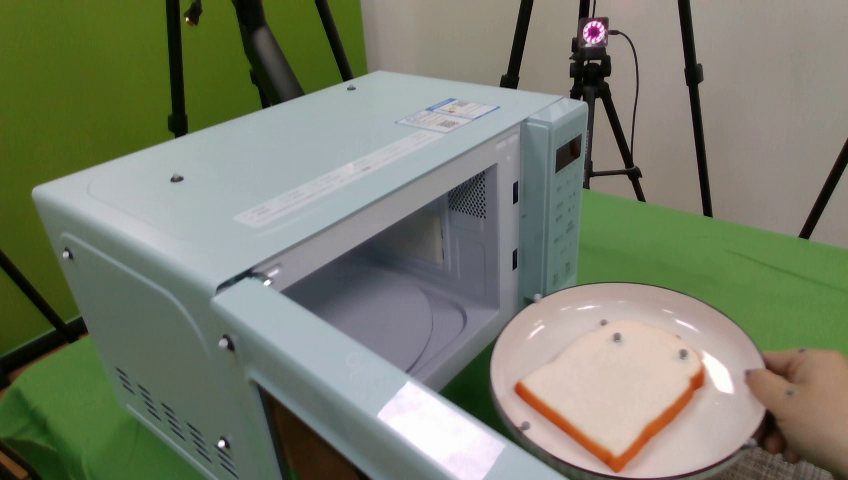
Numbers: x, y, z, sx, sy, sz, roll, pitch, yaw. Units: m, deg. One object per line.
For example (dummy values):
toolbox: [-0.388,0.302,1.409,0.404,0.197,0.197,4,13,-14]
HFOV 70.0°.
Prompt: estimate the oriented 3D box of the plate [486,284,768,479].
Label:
plate: [0.154,0.112,0.482,0.209,0.038,0.207,-7,33,5]

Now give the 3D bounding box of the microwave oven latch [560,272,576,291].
microwave oven latch: [0.151,0.064,0.717,0.030,0.030,0.079,20,38,36]

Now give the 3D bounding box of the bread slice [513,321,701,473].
bread slice: [0.152,0.113,0.485,0.131,0.019,0.104,-30,38,-27]

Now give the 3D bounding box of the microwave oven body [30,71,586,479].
microwave oven body: [-0.083,0.015,0.636,0.323,0.262,0.441,19,37,35]

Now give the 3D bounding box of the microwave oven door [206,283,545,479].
microwave oven door: [0.015,0.183,0.305,0.352,0.246,0.039,22,39,39]
